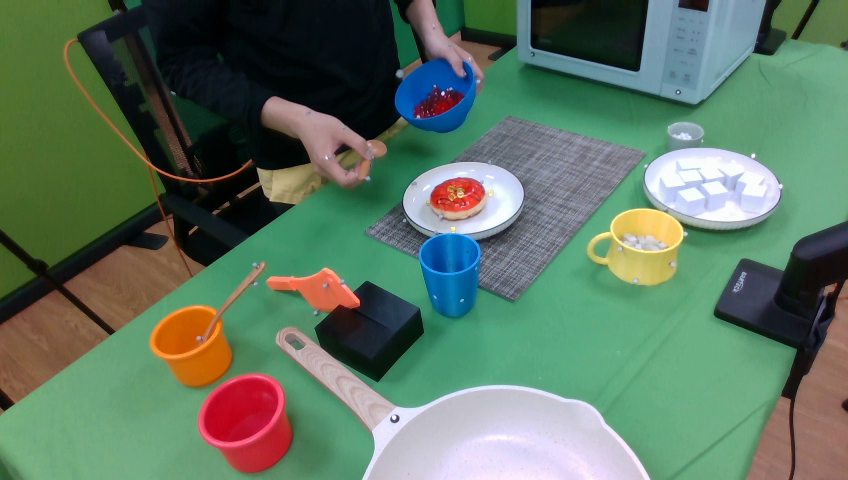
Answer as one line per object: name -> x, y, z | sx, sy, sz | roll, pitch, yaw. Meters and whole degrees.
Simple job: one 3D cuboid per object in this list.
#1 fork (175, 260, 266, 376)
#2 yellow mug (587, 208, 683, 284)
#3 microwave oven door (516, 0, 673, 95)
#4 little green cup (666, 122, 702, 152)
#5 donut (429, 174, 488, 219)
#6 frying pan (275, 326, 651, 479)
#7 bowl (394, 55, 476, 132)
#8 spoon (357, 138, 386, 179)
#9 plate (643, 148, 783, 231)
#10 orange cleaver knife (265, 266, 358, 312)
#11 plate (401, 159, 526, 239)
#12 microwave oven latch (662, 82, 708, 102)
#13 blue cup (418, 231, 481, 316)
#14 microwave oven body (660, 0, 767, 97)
fork -> -0.268, 0.103, 0.792 | 0.207, 0.019, 0.028 | -51, 41, 16
yellow mug -> 0.305, 0.009, 0.884 | 0.131, 0.064, 0.099 | -4, 41, 5
microwave oven door -> 0.344, -0.458, 1.256 | 0.353, 0.245, 0.039 | 26, 51, 33
little green cup -> 0.471, -0.184, 1.102 | 0.061, 0.039, 0.061 | -5, 41, 5
donut -> 0.058, -0.075, 1.015 | 0.099, 0.048, 0.098 | -6, 38, 5
frying pan -> 0.003, 0.229, 0.641 | 0.484, 0.103, 0.308 | 34, 54, 28
bowl -> 0.030, -0.247, 1.076 | 0.151, 0.077, 0.150 | -12, 53, 17
spoon -> -0.085, -0.125, 0.911 | 0.042, 0.021, 0.193 | 12, 20, -2
plate -> 0.464, -0.080, 0.986 | 0.207, 0.039, 0.206 | -4, 41, 4
orange cleaver knife -> -0.165, 0.073, 0.864 | 0.210, 0.077, 0.012 | -6, 31, 50
plate -> 0.067, -0.065, 1.019 | 0.209, 0.038, 0.208 | -4, 40, 4
microwave oven latch -> 0.518, -0.298, 1.203 | 0.078, 0.029, 0.030 | 29, 53, 35
blue cup -> 0.040, 0.053, 0.843 | 0.092, 0.100, 0.092 | -4, 43, 4
microwave oven body -> 0.473, -0.516, 1.313 | 0.438, 0.261, 0.327 | 26, 51, 34
